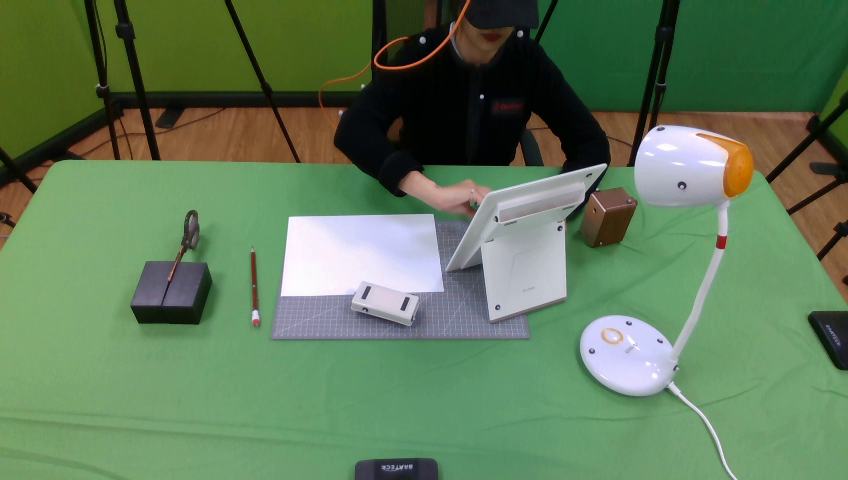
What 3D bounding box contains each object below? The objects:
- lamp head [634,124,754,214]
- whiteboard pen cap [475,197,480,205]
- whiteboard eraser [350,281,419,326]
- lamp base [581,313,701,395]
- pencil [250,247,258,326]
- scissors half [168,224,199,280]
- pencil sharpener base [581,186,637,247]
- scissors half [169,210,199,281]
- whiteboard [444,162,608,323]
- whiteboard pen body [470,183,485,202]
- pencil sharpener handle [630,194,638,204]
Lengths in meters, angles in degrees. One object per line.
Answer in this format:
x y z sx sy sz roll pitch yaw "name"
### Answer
0.351 -0.089 0.776 0.112 0.113 0.122 -30 30 -28 "lamp head"
0.123 -0.080 1.287 0.033 0.018 0.018 26 50 22 "whiteboard pen cap"
-0.069 0.113 1.065 0.112 0.042 0.055 14 46 9 "whiteboard eraser"
0.361 0.144 0.973 0.178 0.181 0.160 34 53 23 "lamp base"
-0.312 0.079 1.107 0.012 0.012 0.192 -7 46 -11 "pencil"
-0.441 0.023 1.111 0.013 0.040 0.174 8 29 -7 "scissors half"
0.369 -0.047 1.209 0.077 0.107 0.061 -11 47 -14 "pencil sharpener base"
-0.438 0.007 1.099 0.013 0.040 0.174 3 47 -4 "scissors half"
0.186 0.025 1.029 0.217 0.306 0.143 -14 68 -17 "whiteboard"
0.125 -0.073 1.215 0.017 0.017 0.140 -12 41 -15 "whiteboard pen body"
0.417 -0.068 1.215 0.031 0.068 0.036 -11 60 -14 "pencil sharpener handle"
